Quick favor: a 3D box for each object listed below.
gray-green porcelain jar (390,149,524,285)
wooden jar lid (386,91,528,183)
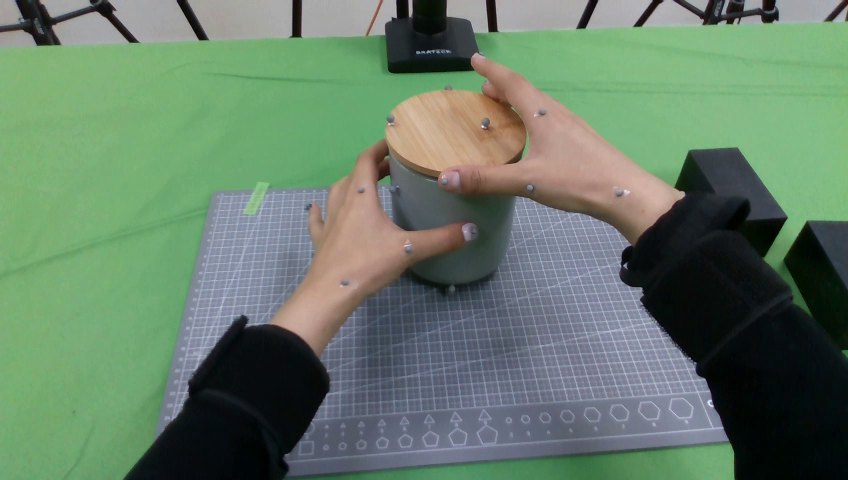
[{"bbox_3d":[0.025,-0.032,0.513,0.106,0.127,0.105,1,46,0],"label":"gray-green porcelain jar"},{"bbox_3d":[0.025,-0.078,0.467,0.108,0.021,0.107,1,45,0],"label":"wooden jar lid"}]
